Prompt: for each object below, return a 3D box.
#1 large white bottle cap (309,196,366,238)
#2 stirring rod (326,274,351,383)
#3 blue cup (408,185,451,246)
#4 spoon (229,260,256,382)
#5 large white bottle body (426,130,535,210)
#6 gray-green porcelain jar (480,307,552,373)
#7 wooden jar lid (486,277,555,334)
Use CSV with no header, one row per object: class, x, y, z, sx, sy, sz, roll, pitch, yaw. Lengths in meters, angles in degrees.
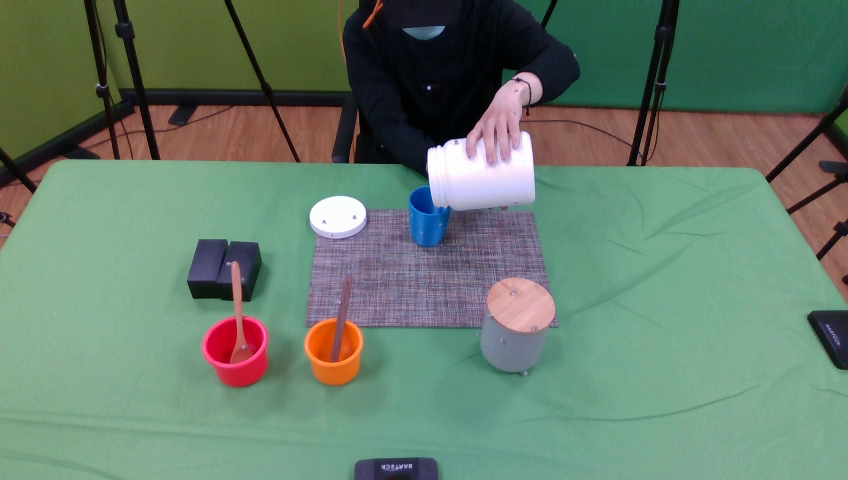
large white bottle cap,-0.176,-0.048,1.229,0.115,0.018,0.114,0,43,0
stirring rod,-0.137,0.142,0.971,0.014,0.006,0.176,9,89,0
blue cup,0.008,-0.042,1.177,0.093,0.101,0.092,3,47,-3
spoon,-0.294,0.129,0.966,0.042,0.021,0.193,-4,90,-9
large white bottle body,0.102,-0.123,1.093,0.184,0.131,0.130,-5,46,7
gray-green porcelain jar,0.148,0.148,0.992,0.106,0.127,0.105,2,46,-2
wooden jar lid,0.150,0.105,0.948,0.108,0.021,0.107,3,47,-3
